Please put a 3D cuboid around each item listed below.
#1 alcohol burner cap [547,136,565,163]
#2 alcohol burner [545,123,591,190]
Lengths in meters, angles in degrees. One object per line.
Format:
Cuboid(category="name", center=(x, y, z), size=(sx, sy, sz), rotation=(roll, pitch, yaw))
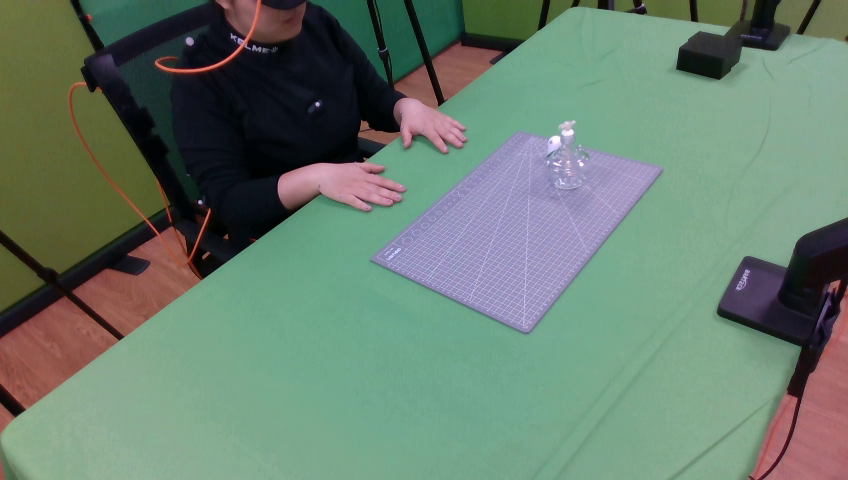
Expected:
Cuboid(category="alcohol burner cap", center=(0.245, -0.170, 1.119), size=(0.034, 0.048, 0.033), rotation=(-6, 39, 5))
Cuboid(category="alcohol burner", center=(0.247, -0.147, 1.034), size=(0.078, 0.120, 0.077), rotation=(-7, 41, 6))
